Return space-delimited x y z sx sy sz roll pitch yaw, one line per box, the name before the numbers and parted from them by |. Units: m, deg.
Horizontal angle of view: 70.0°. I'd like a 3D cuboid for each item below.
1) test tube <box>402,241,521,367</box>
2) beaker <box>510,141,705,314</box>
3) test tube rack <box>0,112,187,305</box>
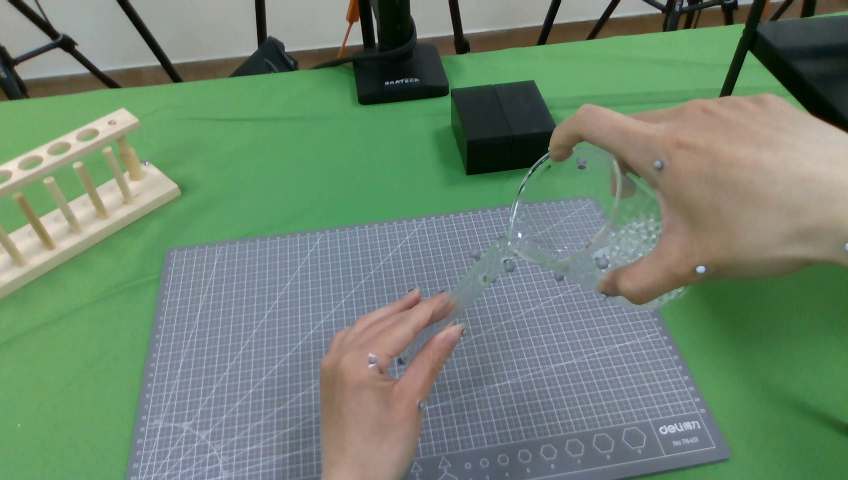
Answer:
test tube | 0.020 0.048 0.407 0.017 0.151 0.017 17 48 -19
beaker | 0.111 0.000 0.361 0.101 0.084 0.073 25 40 -35
test tube rack | -0.371 -0.027 0.598 0.066 0.086 0.242 34 56 29
